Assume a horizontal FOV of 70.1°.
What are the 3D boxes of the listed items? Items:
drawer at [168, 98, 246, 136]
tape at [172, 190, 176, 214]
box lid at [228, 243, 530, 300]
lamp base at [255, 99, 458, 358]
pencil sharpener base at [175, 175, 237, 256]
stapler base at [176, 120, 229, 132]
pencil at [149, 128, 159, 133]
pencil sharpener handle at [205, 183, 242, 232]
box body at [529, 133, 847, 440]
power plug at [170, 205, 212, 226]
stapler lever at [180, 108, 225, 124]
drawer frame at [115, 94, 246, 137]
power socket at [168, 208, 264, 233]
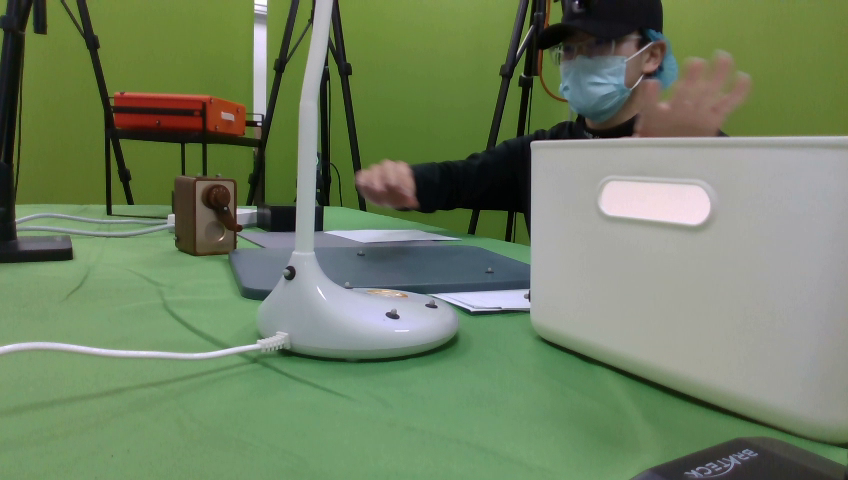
[{"bbox_3d":[-0.539,-0.279,1.374,0.212,0.073,0.194,2,8,5],"label":"drawer"},{"bbox_3d":[-0.515,-0.087,1.388,0.117,0.052,0.117,3,8,0],"label":"tape"},{"bbox_3d":[-0.044,0.033,0.757,0.373,0.015,0.262,-1,9,-22],"label":"box lid"},{"bbox_3d":[-0.056,-0.013,0.462,0.160,0.180,0.180,6,11,27],"label":"lamp base"},{"bbox_3d":[-0.304,-0.036,0.847,0.062,0.107,0.076,-4,10,-42],"label":"pencil sharpener base"},{"bbox_3d":[-0.496,-0.257,1.363,0.041,0.024,0.131,2,9,22],"label":"stapler base"},{"bbox_3d":[-0.528,-0.258,1.360,0.012,0.012,0.195,8,20,35],"label":"pencil"},{"bbox_3d":[-0.265,-0.043,0.813,0.036,0.068,0.030,-31,27,-35],"label":"pencil sharpener handle"},{"bbox_3d":[0.287,0.007,0.473,0.366,0.160,0.253,-3,8,-33],"label":"box body"},{"bbox_3d":[-0.455,-0.041,1.196,0.052,0.035,0.072,1,42,23],"label":"power plug"},{"bbox_3d":[-0.496,-0.281,1.359,0.027,0.040,0.118,2,7,22],"label":"stapler lever"},{"bbox_3d":[-0.543,-0.281,1.374,0.213,0.082,0.201,2,8,4],"label":"drawer frame"},{"bbox_3d":[-0.381,-0.038,1.129,0.072,0.032,0.227,4,8,17],"label":"power socket"}]
